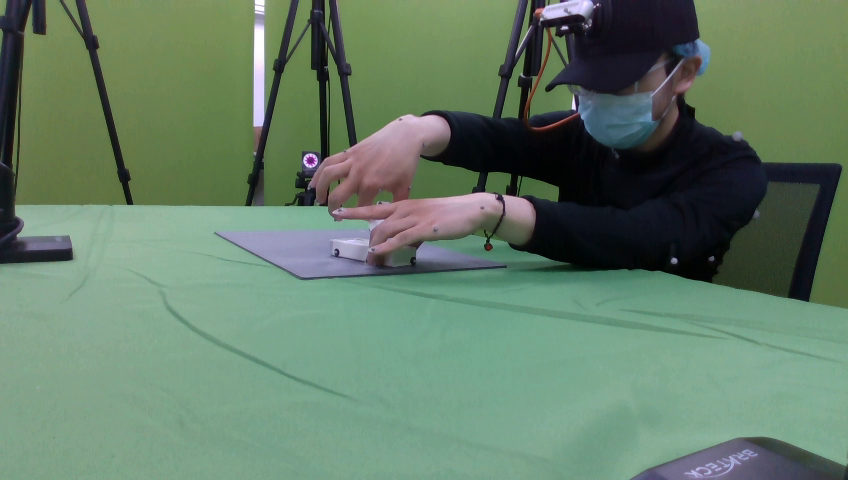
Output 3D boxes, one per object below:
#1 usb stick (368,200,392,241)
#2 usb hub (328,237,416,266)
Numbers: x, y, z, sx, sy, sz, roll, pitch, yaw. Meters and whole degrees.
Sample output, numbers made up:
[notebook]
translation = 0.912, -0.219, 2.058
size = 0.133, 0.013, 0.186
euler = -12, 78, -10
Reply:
[usb stick]
translation = -0.064, -0.026, 0.856
size = 0.021, 0.059, 0.027
euler = 9, -33, 12
[usb hub]
translation = -0.074, 0.015, 0.834
size = 0.124, 0.025, 0.050
euler = 7, 8, 39
